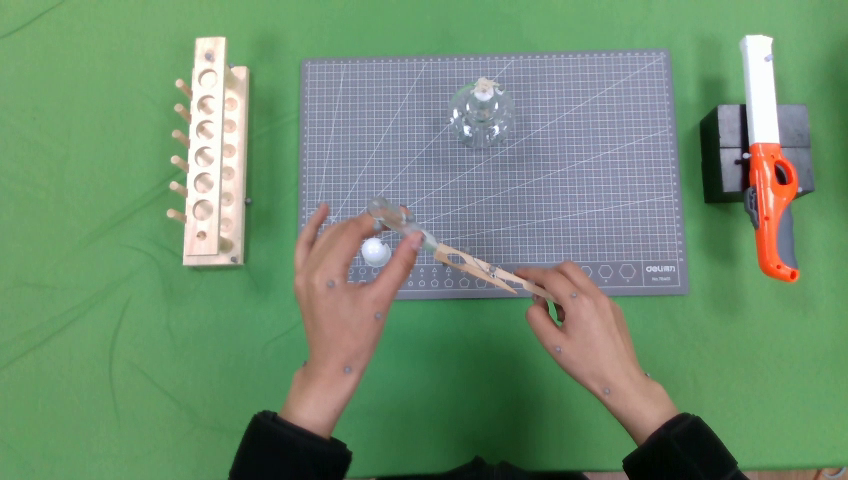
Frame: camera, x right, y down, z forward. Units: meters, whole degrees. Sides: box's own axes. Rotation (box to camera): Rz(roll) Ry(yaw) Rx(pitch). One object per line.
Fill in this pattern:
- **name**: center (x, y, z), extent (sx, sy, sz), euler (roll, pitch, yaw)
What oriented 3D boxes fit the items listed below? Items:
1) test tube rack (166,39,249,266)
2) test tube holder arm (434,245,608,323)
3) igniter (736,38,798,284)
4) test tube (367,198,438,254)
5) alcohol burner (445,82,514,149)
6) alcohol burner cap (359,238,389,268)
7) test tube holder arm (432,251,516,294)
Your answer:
- **test tube rack**: center (-0.250, -0.096, 0.691), extent (0.067, 0.085, 0.241), euler (-1, 81, 2)
- **test tube holder arm**: center (0.093, 0.042, 0.581), extent (0.178, 0.015, 0.013), euler (21, 94, -2)
- **igniter**: center (0.368, -0.089, 0.655), extent (0.057, 0.025, 0.275), euler (1, 78, -1)
- **test tube**: center (-0.012, -0.008, 0.473), extent (0.017, 0.151, 0.017), euler (-3, 79, 14)
- **alcohol burner**: center (0.062, -0.145, 0.674), extent (0.078, 0.119, 0.077), euler (0, 81, 4)
- **alcohol burner cap**: center (-0.059, 0.013, 0.687), extent (0.034, 0.048, 0.033), euler (0, 80, 1)
- **test tube holder arm**: center (0.049, 0.031, 0.580), extent (0.088, 0.015, 0.010), euler (23, 94, -2)
